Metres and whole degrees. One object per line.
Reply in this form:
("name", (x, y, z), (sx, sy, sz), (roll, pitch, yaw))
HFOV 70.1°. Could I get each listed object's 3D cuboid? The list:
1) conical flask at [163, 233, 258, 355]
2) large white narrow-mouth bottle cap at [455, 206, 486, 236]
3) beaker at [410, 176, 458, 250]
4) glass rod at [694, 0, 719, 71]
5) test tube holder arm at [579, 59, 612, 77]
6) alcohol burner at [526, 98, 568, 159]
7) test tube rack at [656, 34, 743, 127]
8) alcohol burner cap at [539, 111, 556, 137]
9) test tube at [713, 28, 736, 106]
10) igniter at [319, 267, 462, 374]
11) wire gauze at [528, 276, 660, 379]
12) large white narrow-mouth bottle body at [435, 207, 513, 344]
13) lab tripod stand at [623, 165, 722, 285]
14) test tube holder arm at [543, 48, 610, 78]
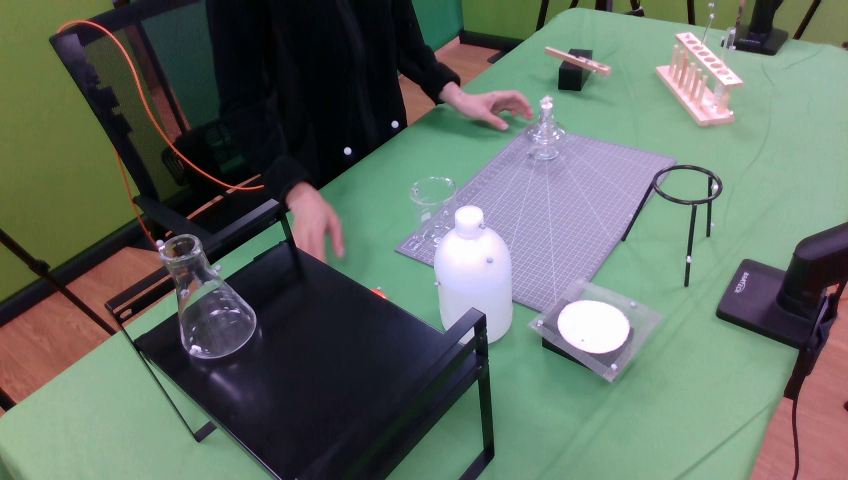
("conical flask", (-0.217, 0.051, 0.601), (0.075, 0.122, 0.075), (-4, 40, 4))
("large white narrow-mouth bottle cap", (0.057, -0.023, 0.734), (0.038, 0.024, 0.037), (-4, 40, 4))
("beaker", (0.022, -0.041, 0.963), (0.073, 0.101, 0.084), (28, 51, 35))
("glass rod", (0.561, -0.401, 1.214), (0.008, 0.200, 0.008), (-1, 49, 2))
("test tube holder arm", (0.362, -0.367, 1.289), (0.010, 0.015, 0.087), (-22, 42, -35))
("alcohol burner", (0.228, -0.210, 1.118), (0.078, 0.119, 0.077), (-5, 43, 5))
("test tube rack", (0.553, -0.330, 1.233), (0.067, 0.085, 0.241), (-7, 40, 2))
("alcohol burner cap", (0.245, -0.232, 1.197), (0.034, 0.048, 0.033), (-3, 38, 3))
("test tube", (0.570, -0.325, 1.149), (0.017, 0.151, 0.017), (-4, 36, 4))
("igniter", (-0.059, 0.107, 0.862), (0.274, 0.025, 0.057), (28, 62, 34))
("wire gauze", (0.213, 0.103, 0.763), (0.124, 0.011, 0.122), (30, 52, 35))
("large white narrow-mouth bottle body", (0.065, 0.041, 0.791), (0.102, 0.195, 0.101), (-4, 41, 4))
("lab tripod stand", (0.365, -0.030, 0.875), (0.148, 0.132, 0.147), (-6, 41, 6))
("test tube holder arm", (0.328, -0.386, 1.313), (0.013, 0.015, 0.177), (-23, 43, -36))
